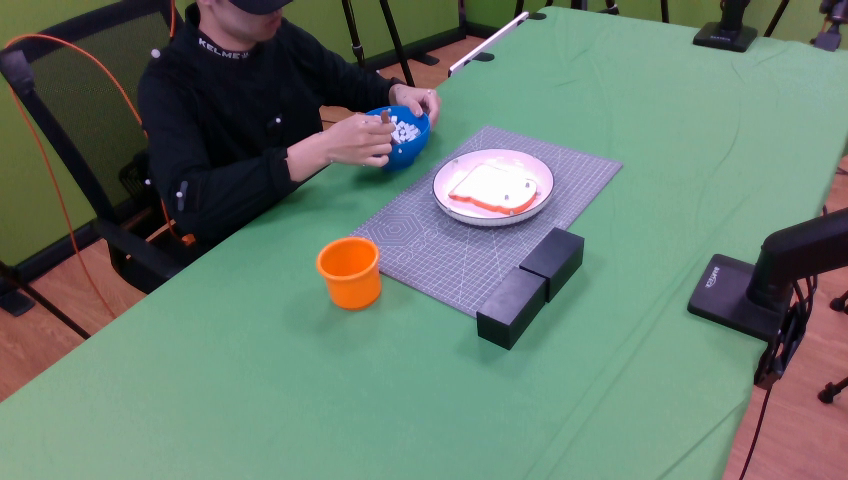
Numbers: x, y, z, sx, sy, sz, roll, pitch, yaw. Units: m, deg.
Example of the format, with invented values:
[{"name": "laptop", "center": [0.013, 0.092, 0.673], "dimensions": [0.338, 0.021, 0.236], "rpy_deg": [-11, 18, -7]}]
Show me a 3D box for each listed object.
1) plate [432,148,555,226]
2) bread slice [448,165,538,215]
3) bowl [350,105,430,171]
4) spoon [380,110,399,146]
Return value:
[{"name": "plate", "center": [0.119, -0.087, 1.037], "dimensions": [0.209, 0.038, 0.208], "rpy_deg": [-4, 40, 4]}, {"name": "bread slice", "center": [0.126, -0.085, 1.038], "dimensions": [0.133, 0.018, 0.107], "rpy_deg": [16, 45, 27]}, {"name": "bowl", "center": [-0.060, -0.185, 1.151], "dimensions": [0.151, 0.077, 0.150], "rpy_deg": [-4, 41, 4]}, {"name": "spoon", "center": [-0.066, -0.192, 1.080], "dimensions": [0.041, 0.194, 0.021], "rpy_deg": [-7, 76, 1]}]
